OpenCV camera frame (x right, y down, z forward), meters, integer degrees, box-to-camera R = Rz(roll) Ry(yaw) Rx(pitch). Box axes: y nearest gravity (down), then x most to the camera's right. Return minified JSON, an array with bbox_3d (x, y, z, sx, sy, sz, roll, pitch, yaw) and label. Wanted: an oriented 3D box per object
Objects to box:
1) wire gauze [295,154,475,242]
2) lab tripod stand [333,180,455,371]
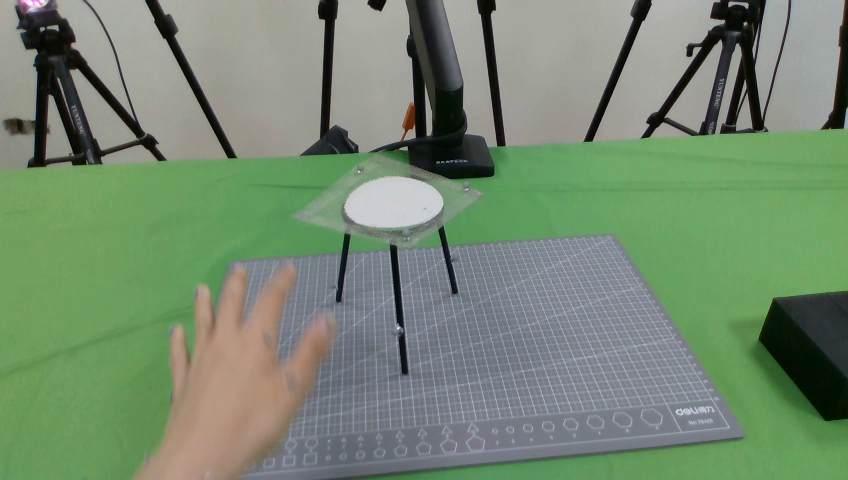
[{"bbox_3d":[-0.027,-0.042,0.510,0.125,0.011,0.121,13,32,7],"label":"wire gauze"},{"bbox_3d":[-0.027,0.024,0.560,0.148,0.132,0.147,1,35,0],"label":"lab tripod stand"}]
